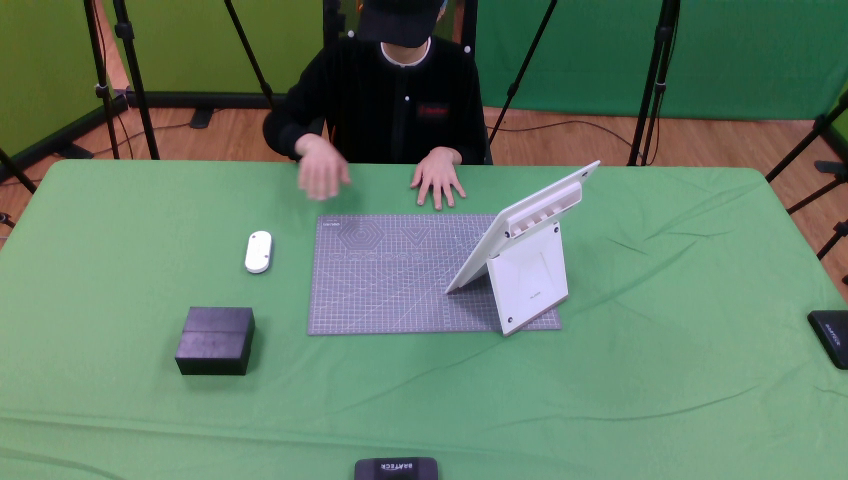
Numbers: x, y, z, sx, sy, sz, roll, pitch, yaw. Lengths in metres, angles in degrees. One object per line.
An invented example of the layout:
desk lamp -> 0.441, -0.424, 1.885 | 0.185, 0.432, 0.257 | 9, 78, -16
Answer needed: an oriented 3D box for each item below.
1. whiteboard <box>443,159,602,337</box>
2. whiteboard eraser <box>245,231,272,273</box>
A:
whiteboard -> 0.193, 0.036, 1.018 | 0.217, 0.306, 0.143 | -26, 72, -26
whiteboard eraser -> -0.315, 0.023, 1.156 | 0.041, 0.019, 0.100 | -1, 45, -4
